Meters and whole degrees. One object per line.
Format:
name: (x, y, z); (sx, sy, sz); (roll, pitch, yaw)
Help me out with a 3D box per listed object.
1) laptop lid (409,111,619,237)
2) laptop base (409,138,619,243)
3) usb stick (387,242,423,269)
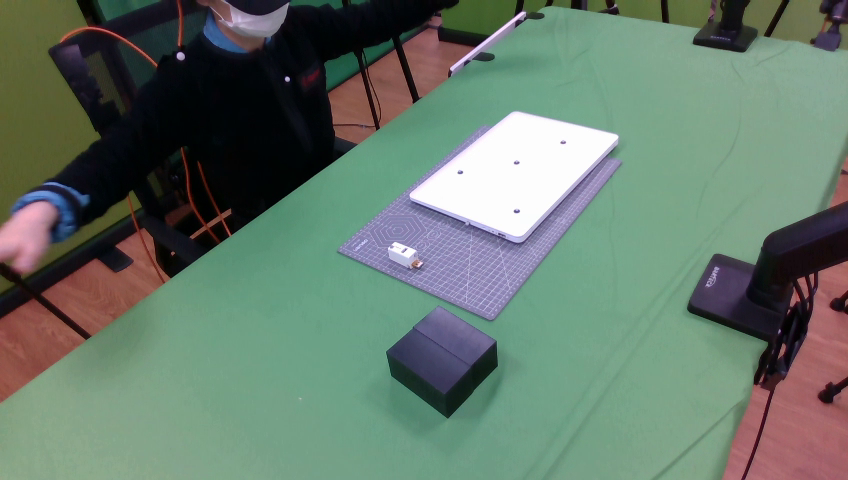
laptop lid: (0.167, -0.136, 1.089); (0.239, 0.013, 0.358); (24, 49, 34)
laptop base: (0.170, -0.126, 1.096); (0.233, 0.023, 0.355); (21, 47, 34)
usb stick: (-0.028, 0.026, 0.934); (0.059, 0.027, 0.021); (25, 49, 29)
